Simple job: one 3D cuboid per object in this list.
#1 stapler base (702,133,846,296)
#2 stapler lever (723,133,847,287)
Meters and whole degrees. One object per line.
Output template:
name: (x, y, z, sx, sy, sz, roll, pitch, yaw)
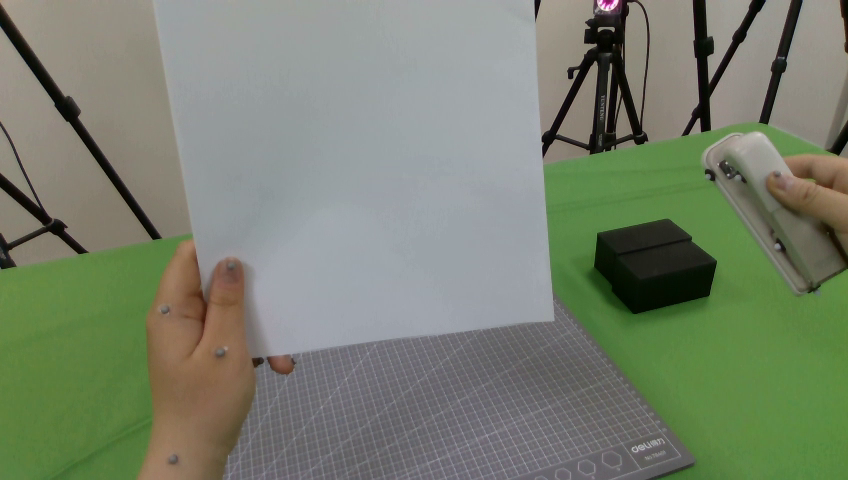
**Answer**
stapler base: (0.259, -0.022, 0.449, 0.041, 0.130, 0.024, -33, -10, 13)
stapler lever: (0.254, -0.023, 0.425, 0.027, 0.117, 0.040, -33, -11, 13)
